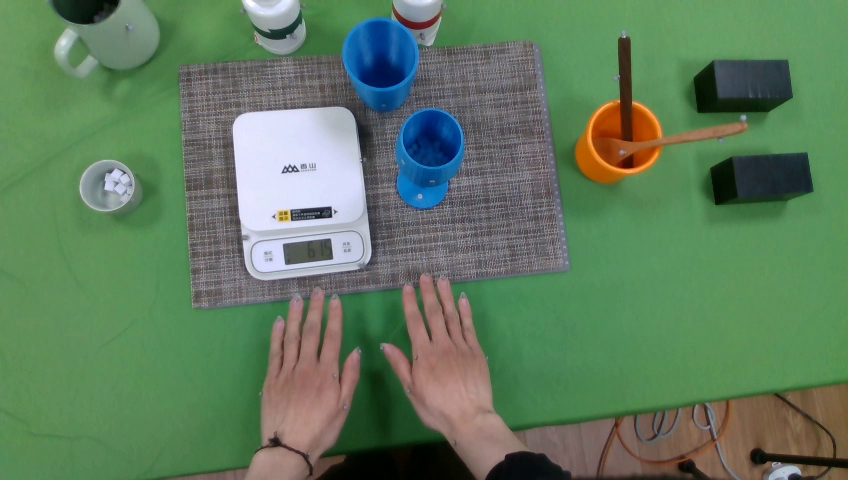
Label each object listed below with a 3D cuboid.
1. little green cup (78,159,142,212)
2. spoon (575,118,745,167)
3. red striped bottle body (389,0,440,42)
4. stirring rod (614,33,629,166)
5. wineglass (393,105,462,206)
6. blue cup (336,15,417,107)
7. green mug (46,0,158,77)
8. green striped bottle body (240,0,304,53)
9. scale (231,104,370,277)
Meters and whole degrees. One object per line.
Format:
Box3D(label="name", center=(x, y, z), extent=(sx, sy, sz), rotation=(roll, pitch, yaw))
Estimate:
Box3D(label="little green cup", center=(-0.364, -0.061, 0.709), extent=(0.061, 0.038, 0.061), rotation=(1, 82, -5))
Box3D(label="spoon", center=(0.270, -0.117, 0.710), extent=(0.022, 0.192, 0.041), rotation=(-5, 90, -49))
Box3D(label="red striped bottle body", center=(-0.011, -0.294, 0.728), extent=(0.063, 0.120, 0.063), rotation=(1, 81, -4))
Box3D(label="stirring rod", center=(0.233, -0.159, 0.712), extent=(0.014, 0.178, 0.006), rotation=(7, 47, 26))
Box3D(label="wineglass", center=(0.000, -0.087, 0.669), extent=(0.074, 0.172, 0.073), rotation=(1, 81, -4))
Box3D(label="blue cup", center=(-0.052, -0.202, 0.718), extent=(0.093, 0.100, 0.092), rotation=(0, 84, -4))
Box3D(label="green mug", center=(-0.379, -0.245, 0.701), extent=(0.092, 0.105, 0.125), rotation=(29, 81, 0))
Box3D(label="green striped bottle body", center=(-0.180, -0.274, 0.712), extent=(0.063, 0.119, 0.063), rotation=(1, 81, -4))
Box3D(label="scale", center=(-0.148, -0.061, 0.725), extent=(0.149, 0.031, 0.200), rotation=(-7, 83, -5))
